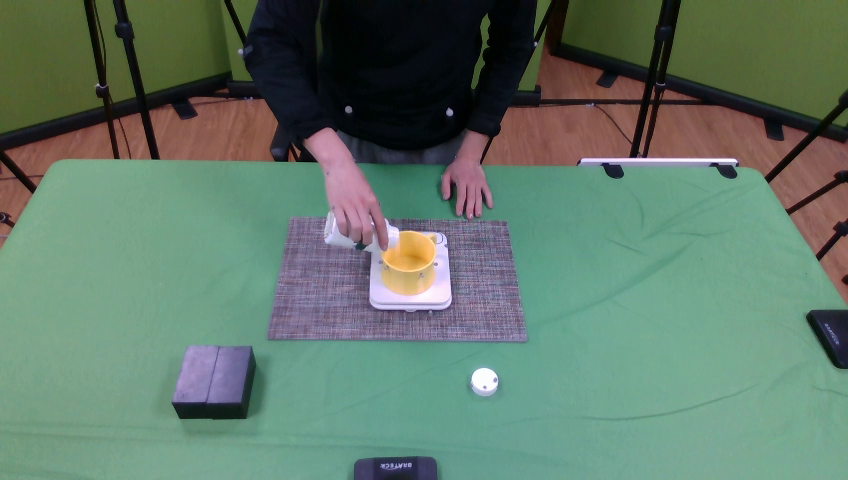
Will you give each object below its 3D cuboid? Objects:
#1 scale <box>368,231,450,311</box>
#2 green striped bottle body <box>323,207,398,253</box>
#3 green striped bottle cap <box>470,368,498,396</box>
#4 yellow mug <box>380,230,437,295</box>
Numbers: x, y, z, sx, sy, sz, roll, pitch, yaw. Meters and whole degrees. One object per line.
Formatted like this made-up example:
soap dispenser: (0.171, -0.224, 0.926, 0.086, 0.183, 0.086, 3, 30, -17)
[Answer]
scale: (-0.029, 0.048, 1.137, 0.149, 0.032, 0.199, 1, 46, -4)
green striped bottle body: (-0.106, -0.015, 1.031, 0.119, 0.063, 0.063, 11, 43, -22)
green striped bottle cap: (0.097, 0.231, 0.989, 0.044, 0.020, 0.044, 2, 44, -2)
yellow mug: (-0.020, 0.030, 1.089, 0.099, 0.064, 0.130, 31, 51, 24)
